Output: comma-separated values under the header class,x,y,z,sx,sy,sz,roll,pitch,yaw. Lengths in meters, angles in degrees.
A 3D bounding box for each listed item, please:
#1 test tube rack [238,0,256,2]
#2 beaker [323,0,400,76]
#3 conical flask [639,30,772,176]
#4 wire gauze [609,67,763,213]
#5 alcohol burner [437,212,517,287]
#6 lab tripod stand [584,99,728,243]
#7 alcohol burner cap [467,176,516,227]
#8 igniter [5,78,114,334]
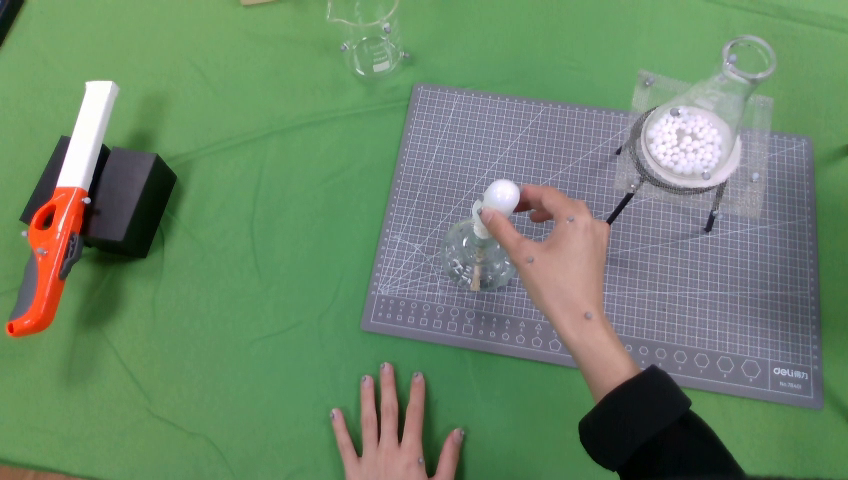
class,x,y,z,sx,sy,sz,roll,pitch,yaw
test tube rack,-0.119,-0.361,0.732,0.242,0.086,0.066,-10,70,-3
beaker,-0.067,-0.238,0.678,0.084,0.101,0.073,-31,71,-9
conical flask,0.220,-0.107,0.469,0.075,0.122,0.075,0,70,1
wire gauze,0.231,-0.088,0.525,0.121,0.011,0.124,15,69,4
alcohol burner,0.052,0.003,0.577,0.078,0.120,0.077,0,68,0
lab tripod stand,0.225,-0.062,0.586,0.148,0.132,0.147,0,68,0
alcohol burner cap,0.059,-0.035,0.503,0.034,0.048,0.033,7,63,-14
igniter,-0.357,-0.042,0.601,0.057,0.025,0.274,1,69,7
